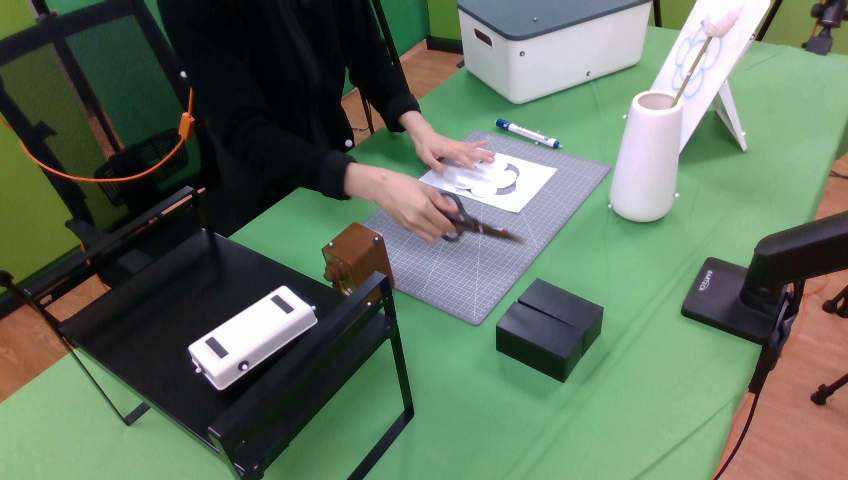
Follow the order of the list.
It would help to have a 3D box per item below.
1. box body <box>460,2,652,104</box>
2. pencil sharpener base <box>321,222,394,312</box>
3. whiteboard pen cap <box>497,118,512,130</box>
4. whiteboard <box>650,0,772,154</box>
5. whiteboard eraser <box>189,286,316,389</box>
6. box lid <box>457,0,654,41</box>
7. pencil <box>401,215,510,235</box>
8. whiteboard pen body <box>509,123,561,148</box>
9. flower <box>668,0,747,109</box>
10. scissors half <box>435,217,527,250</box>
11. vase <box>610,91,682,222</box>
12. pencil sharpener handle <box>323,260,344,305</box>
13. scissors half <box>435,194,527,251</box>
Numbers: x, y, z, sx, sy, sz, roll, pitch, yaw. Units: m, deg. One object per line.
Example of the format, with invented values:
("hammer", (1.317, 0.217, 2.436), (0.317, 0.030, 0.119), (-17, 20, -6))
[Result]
("box body", (0.291, -0.465, 1.371), (0.365, 0.161, 0.252), (-22, 42, -16))
("pencil sharpener base", (-0.096, 0.041, 0.873), (0.061, 0.107, 0.077), (25, 53, 32))
("whiteboard pen cap", (0.165, -0.235, 1.226), (0.033, 0.018, 0.018), (31, 53, 31))
("whiteboard", (0.543, -0.298, 1.076), (0.144, 0.305, 0.216), (12, 40, -7))
("whiteboard eraser", (-0.166, 0.096, 0.593), (0.113, 0.042, 0.055), (-36, 47, -29))
("box lid", (0.285, -0.522, 1.323), (0.373, 0.015, 0.261), (-22, 43, -16))
("pencil", (0.049, -0.027, 1.006), (0.193, 0.012, 0.012), (9, 43, 22))
("whiteboard pen body", (0.208, -0.212, 1.196), (0.139, 0.017, 0.017), (30, 52, 33))
("flower", (0.354, -0.187, 0.879), (0.038, 0.362, 0.044), (30, 48, 14))
("scissors half", (0.075, -0.004, 0.833), (0.013, 0.040, 0.173), (-16, 18, -37))
("vase", (0.348, -0.125, 0.935), (0.098, 0.201, 0.097), (-3, 40, 3))
("pencil sharpener handle", (-0.131, 0.062, 0.839), (0.035, 0.068, 0.031), (29, 55, 27))
("scissors half", (0.075, -0.023, 0.825), (0.013, 0.040, 0.173), (-22, 40, -35))
